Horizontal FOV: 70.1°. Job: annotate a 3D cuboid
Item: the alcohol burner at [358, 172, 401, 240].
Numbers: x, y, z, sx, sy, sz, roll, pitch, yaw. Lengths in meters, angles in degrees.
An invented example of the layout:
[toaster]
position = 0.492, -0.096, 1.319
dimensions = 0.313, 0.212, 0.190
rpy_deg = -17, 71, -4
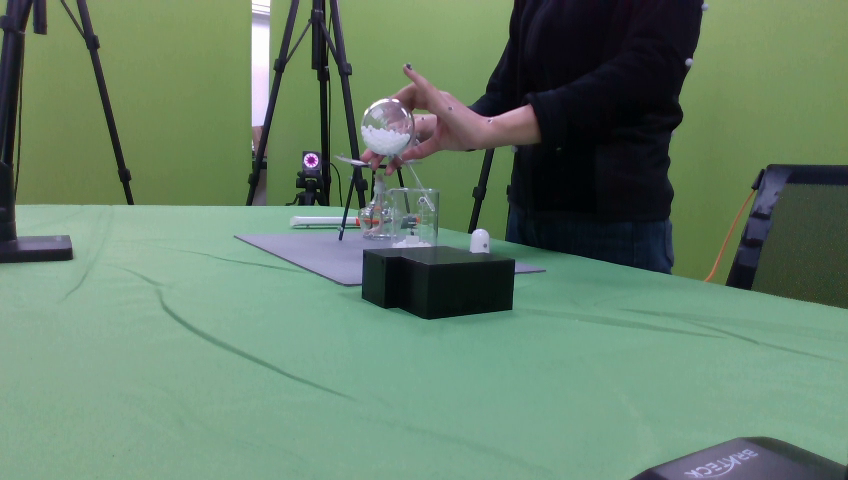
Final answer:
[alcohol burner]
position = -0.077, -0.061, 1.065
dimensions = 0.078, 0.119, 0.078
rpy_deg = 4, 9, 0

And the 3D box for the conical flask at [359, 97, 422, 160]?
[conical flask]
position = -0.036, -0.143, 0.834
dimensions = 0.075, 0.075, 0.122
rpy_deg = 4, -6, 15

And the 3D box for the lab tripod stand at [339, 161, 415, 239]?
[lab tripod stand]
position = -0.082, -0.070, 1.059
dimensions = 0.148, 0.131, 0.148
rpy_deg = 4, 6, 0

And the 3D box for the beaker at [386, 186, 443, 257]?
[beaker]
position = -0.015, -0.028, 0.886
dimensions = 0.084, 0.100, 0.074
rpy_deg = 1, 7, -9

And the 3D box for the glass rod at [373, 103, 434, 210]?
[glass rod]
position = -0.032, -0.126, 0.900
dimensions = 0.008, 0.199, 0.008
rpy_deg = -25, -18, -9

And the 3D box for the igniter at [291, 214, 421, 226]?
[igniter]
position = -0.135, -0.041, 1.250
dimensions = 0.278, 0.025, 0.057
rpy_deg = -1, -3, -28

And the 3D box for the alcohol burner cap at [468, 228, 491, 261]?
[alcohol burner cap]
position = 0.082, 0.006, 0.878
dimensions = 0.034, 0.048, 0.034
rpy_deg = 3, 6, 0

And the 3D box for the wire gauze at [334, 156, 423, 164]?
[wire gauze]
position = -0.081, -0.137, 1.051
dimensions = 0.122, 0.011, 0.124
rpy_deg = 0, 8, -30
